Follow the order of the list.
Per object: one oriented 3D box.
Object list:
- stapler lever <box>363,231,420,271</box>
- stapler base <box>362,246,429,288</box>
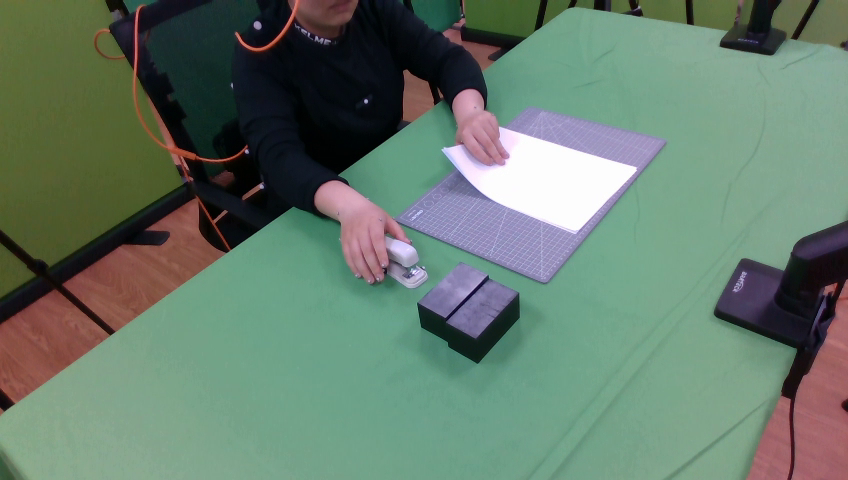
[{"bbox_3d":[-0.052,0.011,0.934,0.027,0.040,0.117,-34,45,-28],"label":"stapler lever"},{"bbox_3d":[-0.047,0.030,0.950,0.041,0.024,0.129,-34,45,-28],"label":"stapler base"}]
